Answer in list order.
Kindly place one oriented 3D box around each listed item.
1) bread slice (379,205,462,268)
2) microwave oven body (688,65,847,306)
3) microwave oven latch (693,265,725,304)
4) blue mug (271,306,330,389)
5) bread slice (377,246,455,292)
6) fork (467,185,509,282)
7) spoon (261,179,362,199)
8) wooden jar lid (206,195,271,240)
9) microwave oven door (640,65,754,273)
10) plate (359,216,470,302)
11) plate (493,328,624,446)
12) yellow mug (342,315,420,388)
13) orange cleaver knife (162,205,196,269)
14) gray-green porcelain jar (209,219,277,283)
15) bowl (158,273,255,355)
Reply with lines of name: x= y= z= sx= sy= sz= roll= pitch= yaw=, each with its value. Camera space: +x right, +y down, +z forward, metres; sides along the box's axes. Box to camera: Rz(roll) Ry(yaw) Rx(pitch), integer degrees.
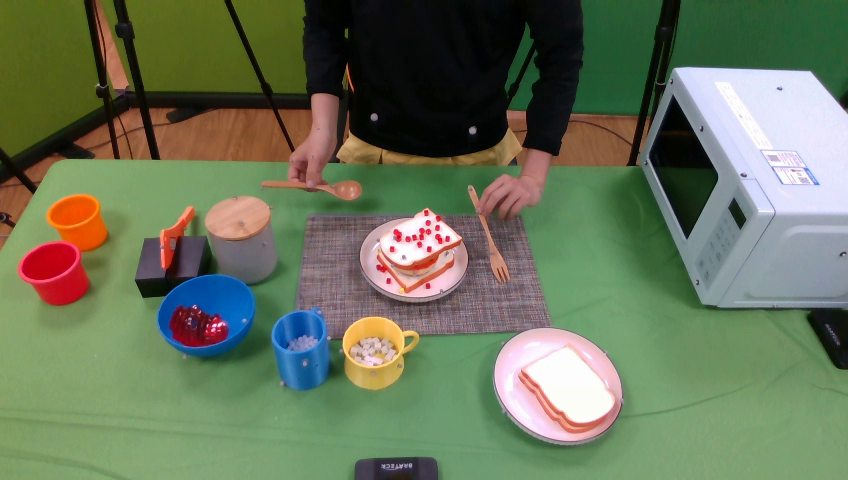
bread slice: x=-0.012 y=-0.001 z=1.097 sx=0.134 sy=0.018 sz=0.106 roll=-33 pitch=51 yaw=-23
microwave oven body: x=0.669 y=-0.111 z=1.176 sx=0.326 sy=0.261 sz=0.439 roll=0 pitch=46 yaw=-3
microwave oven latch: x=0.523 y=0.081 z=1.116 sx=0.030 sy=0.029 sz=0.078 roll=2 pitch=46 yaw=-1
blue mug: x=-0.188 y=0.163 z=0.969 sx=0.082 sy=0.106 sz=0.116 roll=15 pitch=47 yaw=10
bread slice: x=-0.010 y=0.033 z=1.150 sx=0.131 sy=0.019 sz=0.104 roll=-28 pitch=56 yaw=-24
fork: x=0.120 y=-0.014 z=1.166 sx=0.028 sy=0.018 sz=0.206 roll=-11 pitch=76 yaw=-26
spoon: x=-0.218 y=-0.107 z=1.181 sx=0.194 sy=0.021 sz=0.041 roll=4 pitch=78 yaw=-15
wooden jar lid: x=-0.319 y=-0.036 z=1.046 sx=0.108 sy=0.021 sz=0.107 roll=1 pitch=44 yaw=-1
microwave oven door: x=0.523 y=-0.147 z=1.193 sx=0.039 sy=0.245 sz=0.353 roll=0 pitch=47 yaw=-3
plate: x=-0.019 y=0.038 z=1.140 sx=0.209 sy=0.038 sz=0.208 roll=2 pitch=46 yaw=-2
plate: x=0.213 y=0.236 z=0.974 sx=0.208 sy=0.039 sz=0.206 roll=2 pitch=46 yaw=-2
yellow mug: x=-0.068 y=0.177 z=0.990 sx=0.131 sy=0.064 sz=0.099 roll=-15 pitch=50 yaw=-19
orange cleaver knife: x=-0.454 y=-0.010 z=1.129 sx=0.012 sy=0.077 sz=0.210 roll=-1 pitch=20 yaw=-5
gray-green porcelain jar: x=-0.323 y=0.007 z=1.092 sx=0.106 sy=0.127 sz=0.105 roll=2 pitch=46 yaw=-2
bowl: x=-0.351 y=0.136 z=1.001 sx=0.151 sy=0.077 sz=0.150 roll=2 pitch=46 yaw=-2
